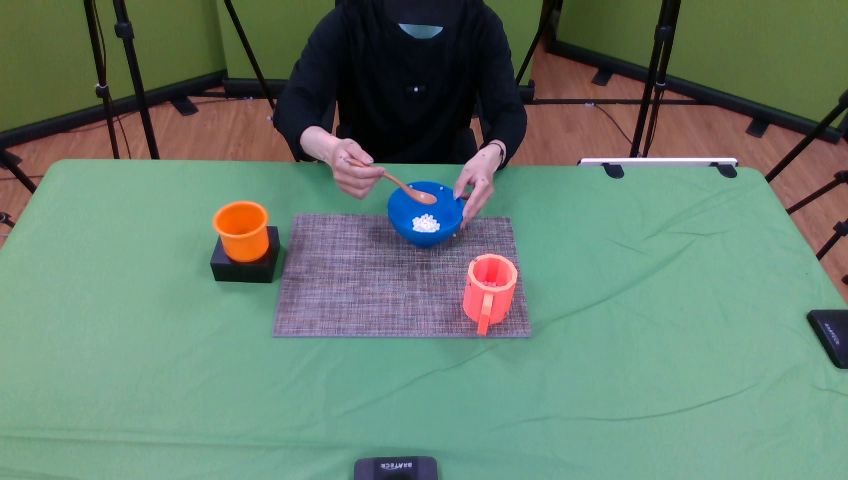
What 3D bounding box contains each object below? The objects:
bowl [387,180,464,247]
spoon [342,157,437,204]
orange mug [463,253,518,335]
[{"bbox_3d":[0.002,-0.040,1.190,0.151,0.077,0.150,2,46,-2],"label":"bowl"},{"bbox_3d":[-0.059,-0.108,1.082,0.194,0.021,0.041,27,26,-26],"label":"spoon"},{"bbox_3d":[0.113,0.098,1.050,0.083,0.101,0.125,10,42,6],"label":"orange mug"}]
